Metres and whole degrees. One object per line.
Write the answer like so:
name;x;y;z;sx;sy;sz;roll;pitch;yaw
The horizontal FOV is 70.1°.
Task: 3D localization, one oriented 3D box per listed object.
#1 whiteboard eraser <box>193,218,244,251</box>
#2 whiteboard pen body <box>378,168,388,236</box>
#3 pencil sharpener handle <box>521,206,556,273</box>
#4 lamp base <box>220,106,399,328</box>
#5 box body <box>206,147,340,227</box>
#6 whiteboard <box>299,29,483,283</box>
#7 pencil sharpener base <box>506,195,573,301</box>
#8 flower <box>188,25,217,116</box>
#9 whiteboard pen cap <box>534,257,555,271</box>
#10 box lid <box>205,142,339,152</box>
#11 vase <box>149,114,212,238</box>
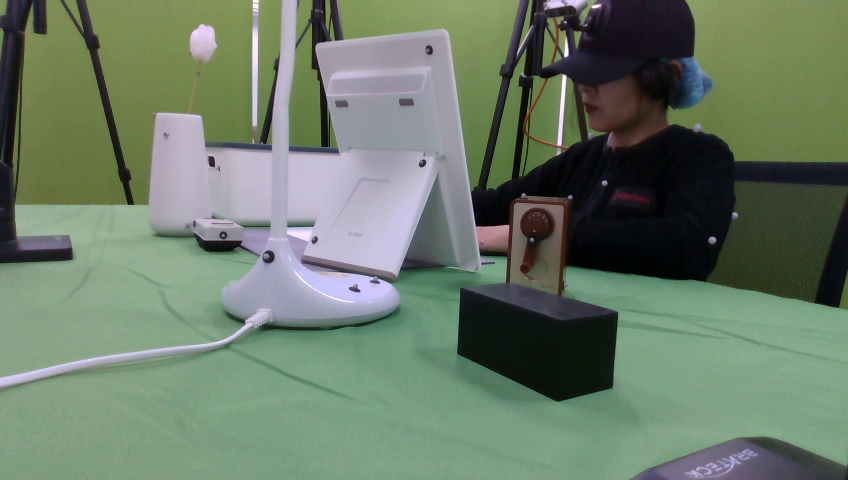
whiteboard eraser;-0.307;-0.009;0.900;0.056;0.042;0.112;-4;11;-28
whiteboard pen body;-0.077;-0.071;1.130;0.017;0.140;0.017;0;-25;0
pencil sharpener handle;0.111;0.000;0.613;0.036;0.067;0.031;13;10;14
lamp base;-0.101;-0.023;0.531;0.160;0.180;0.179;4;10;10
box body;-0.276;-0.122;1.320;0.366;0.160;0.253;-2;9;-30
whiteboard;-0.074;-0.082;0.742;0.216;0.305;0.144;9;29;38
pencil sharpener base;0.127;0.007;0.663;0.061;0.107;0.077;5;8;15
flower;-0.394;-0.189;1.011;0.044;0.361;0.038;-1;-13;27
whiteboard pen cap;0.166;0.033;0.839;0.018;0.018;0.033;-1;6;-23
box lid;-0.270;-0.196;1.310;0.373;0.015;0.262;-2;9;-30
vase;-0.405;-0.106;1.005;0.098;0.200;0.098;2;6;0
